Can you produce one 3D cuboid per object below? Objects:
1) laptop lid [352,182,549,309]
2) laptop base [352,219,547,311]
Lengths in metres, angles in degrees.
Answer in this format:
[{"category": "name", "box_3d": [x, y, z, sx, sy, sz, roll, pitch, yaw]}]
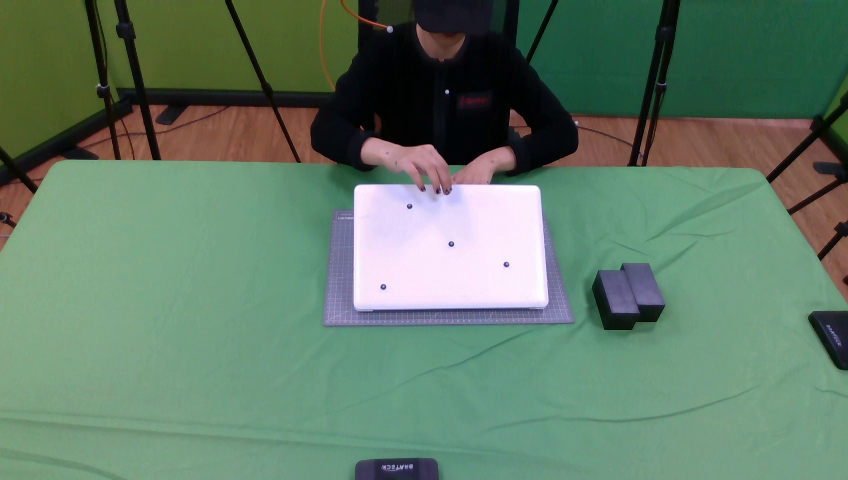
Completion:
[{"category": "laptop lid", "box_3d": [0.048, 0.007, 1.099, 0.357, 0.013, 0.241, 1, 76, -4]}, {"category": "laptop base", "box_3d": [0.043, 0.044, 1.161, 0.355, 0.023, 0.234, 0, 43, -5]}]
